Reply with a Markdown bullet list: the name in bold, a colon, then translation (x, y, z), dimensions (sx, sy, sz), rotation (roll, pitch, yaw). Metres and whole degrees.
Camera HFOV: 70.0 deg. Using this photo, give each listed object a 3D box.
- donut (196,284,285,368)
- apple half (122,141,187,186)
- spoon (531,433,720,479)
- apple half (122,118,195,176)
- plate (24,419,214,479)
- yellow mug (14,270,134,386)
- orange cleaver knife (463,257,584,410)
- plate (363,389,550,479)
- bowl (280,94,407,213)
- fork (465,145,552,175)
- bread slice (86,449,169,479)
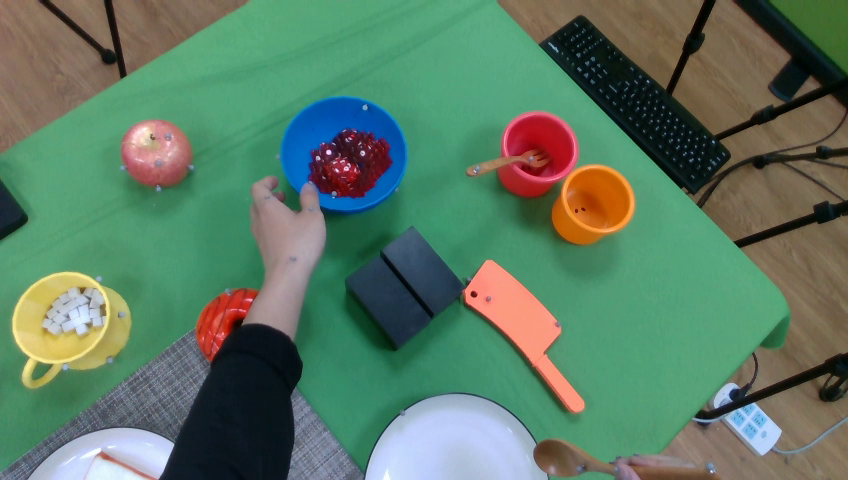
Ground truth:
- **donut**: translation (-0.210, 0.099, 0.698), dimensions (0.099, 0.048, 0.098), rotation (2, 74, -6)
- **apple half**: translation (-0.326, -0.082, 0.728), dimensions (0.081, 0.081, 0.032), rotation (16, 67, 0)
- **spoon**: translation (0.163, 0.191, 0.521), dimensions (0.022, 0.193, 0.041), rotation (-25, 93, -32)
- **apple half**: translation (-0.317, -0.117, 0.741), dimensions (0.081, 0.075, 0.053), rotation (16, 67, 3)
- **plate**: translation (-0.318, 0.294, 0.632), dimensions (0.208, 0.039, 0.206), rotation (2, 73, -5)
- **yellow mug**: translation (-0.394, 0.102, 0.671), dimensions (0.100, 0.064, 0.130), rotation (26, 73, 2)
- **orange cleaver knife**: translation (0.132, 0.112, 0.748), dimensions (0.077, 0.012, 0.210), rotation (-37, 79, -21)
- **plate**: translation (0.036, 0.274, 0.678), dimensions (0.209, 0.038, 0.208), rotation (2, 73, -5)
- **bowl**: translation (-0.098, -0.096, 0.754), dimensions (0.151, 0.077, 0.150), rotation (2, 73, -5)
- **fork**: translation (0.107, -0.098, 0.741), dimensions (0.208, 0.018, 0.028), rotation (-19, 71, -54)
- **bread slice**: translation (-0.325, 0.301, 0.630), dimensions (0.105, 0.019, 0.131), rotation (24, 72, 2)
